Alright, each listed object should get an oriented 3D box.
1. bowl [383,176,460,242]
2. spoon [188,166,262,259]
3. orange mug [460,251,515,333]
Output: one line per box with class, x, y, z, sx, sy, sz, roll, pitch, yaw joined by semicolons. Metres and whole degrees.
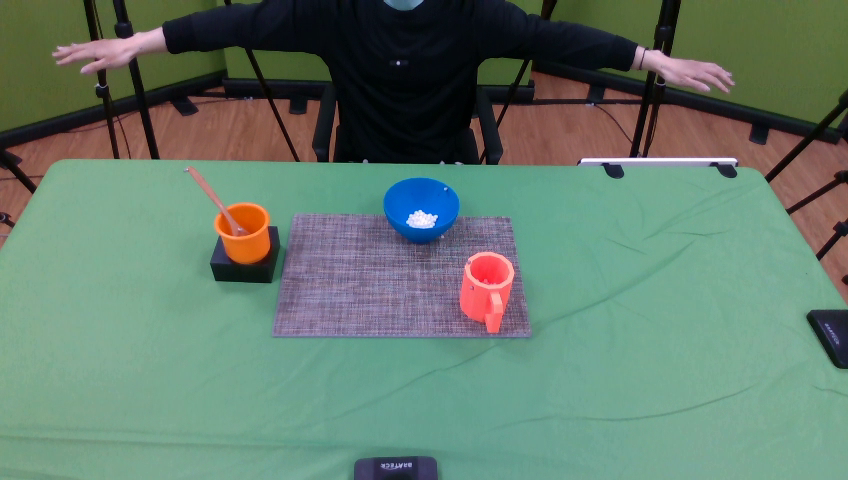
bowl;-0.006;-0.048;1.197;0.151;0.077;0.150;2;46;-2
spoon;-0.349;-0.048;1.061;0.041;0.194;0.021;-40;16;-31
orange mug;0.114;0.094;1.053;0.083;0.101;0.125;-5;42;-8
